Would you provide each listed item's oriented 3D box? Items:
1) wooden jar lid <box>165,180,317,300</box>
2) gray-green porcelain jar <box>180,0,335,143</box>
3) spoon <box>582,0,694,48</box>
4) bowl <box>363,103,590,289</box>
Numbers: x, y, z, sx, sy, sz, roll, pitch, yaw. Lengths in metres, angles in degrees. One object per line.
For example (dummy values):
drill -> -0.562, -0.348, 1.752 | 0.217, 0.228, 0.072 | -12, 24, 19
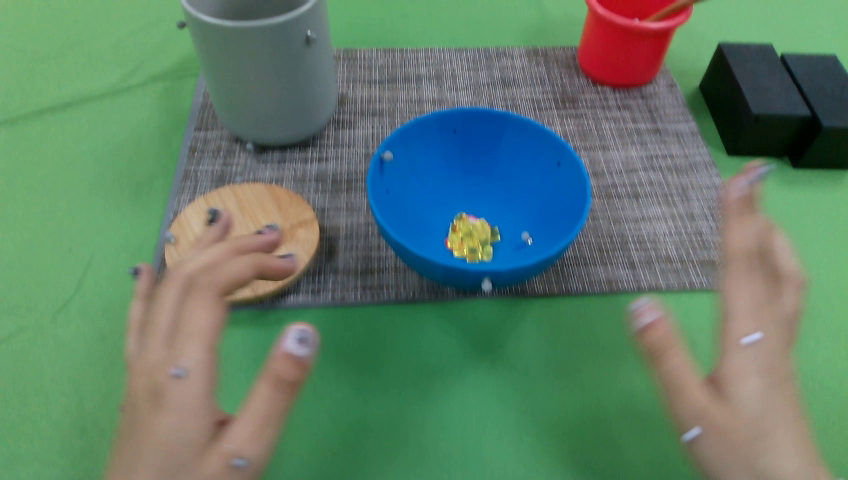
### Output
wooden jar lid -> -0.132, 0.001, 0.446 | 0.108, 0.021, 0.107 | 1, 52, -1
gray-green porcelain jar -> -0.129, -0.152, 0.494 | 0.106, 0.127, 0.105 | 1, 53, -1
spoon -> 0.227, -0.209, 0.542 | 0.022, 0.193, 0.041 | 53, 56, -21
bowl -> 0.034, -0.019, 0.432 | 0.151, 0.077, 0.150 | 1, 53, -1
